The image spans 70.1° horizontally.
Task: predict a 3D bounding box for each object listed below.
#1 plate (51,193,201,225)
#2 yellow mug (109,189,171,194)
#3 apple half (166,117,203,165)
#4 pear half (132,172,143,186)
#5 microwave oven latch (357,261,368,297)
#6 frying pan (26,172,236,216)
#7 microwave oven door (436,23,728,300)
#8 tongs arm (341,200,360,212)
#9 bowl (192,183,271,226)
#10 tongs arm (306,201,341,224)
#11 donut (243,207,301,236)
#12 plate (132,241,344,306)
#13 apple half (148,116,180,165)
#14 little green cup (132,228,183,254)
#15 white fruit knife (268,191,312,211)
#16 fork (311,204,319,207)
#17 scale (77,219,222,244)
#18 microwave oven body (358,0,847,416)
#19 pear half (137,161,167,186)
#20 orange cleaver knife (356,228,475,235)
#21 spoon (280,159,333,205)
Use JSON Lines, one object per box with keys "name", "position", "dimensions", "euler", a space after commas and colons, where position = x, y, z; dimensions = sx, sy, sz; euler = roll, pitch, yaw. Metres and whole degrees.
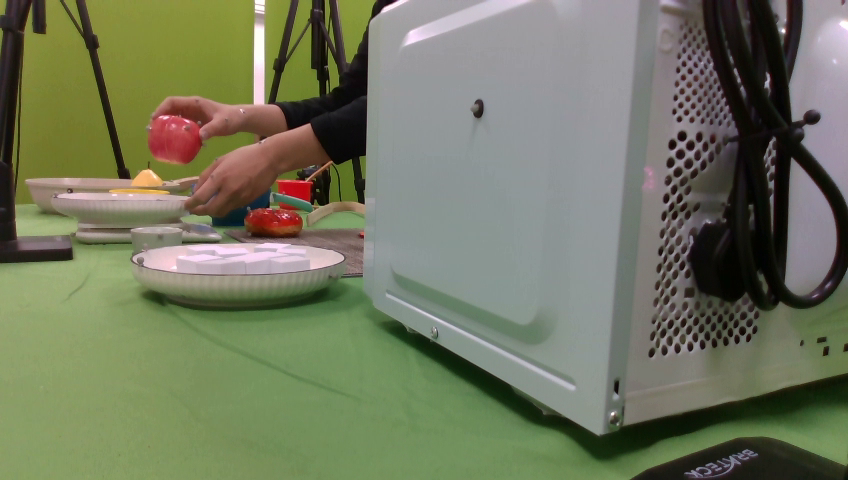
{"name": "plate", "position": [-0.459, -0.050, 0.945], "dimensions": [0.209, 0.038, 0.209], "euler": [2, 7, 0]}
{"name": "yellow mug", "position": [-0.519, -0.055, 1.080], "dimensions": [0.099, 0.064, 0.131], "euler": [7, 10, 26]}
{"name": "apple half", "position": [-0.377, -0.157, 0.972], "dimensions": [0.033, 0.081, 0.081], "euler": [4, 8, 15]}
{"name": "pear half", "position": [-0.638, -0.113, 1.361], "dimensions": [0.031, 0.088, 0.070], "euler": [5, 10, 4]}
{"name": "microwave oven latch", "position": [-0.019, 0.033, 0.530], "dimensions": [0.079, 0.029, 0.030], "euler": [-1, 7, -26]}
{"name": "frying pan", "position": [-0.624, -0.118, 1.387], "dimensions": [0.305, 0.102, 0.490], "euler": [8, 17, 32]}
{"name": "microwave oven door", "position": [0.180, -0.073, 0.621], "dimensions": [0.358, 0.243, 0.039], "euler": [-2, 9, -29]}
{"name": "tongs arm", "position": [-0.148, -0.070, 1.429], "dimensions": [0.051, 0.026, 0.383], "euler": [-3, 8, -14]}
{"name": "bowl", "position": [-0.382, -0.071, 1.202], "dimensions": [0.151, 0.077, 0.151], "euler": [3, 7, 0]}
{"name": "tongs arm", "position": [-0.234, -0.069, 1.415], "dimensions": [0.028, 0.028, 0.387], "euler": [-5, 7, 1]}
{"name": "donut", "position": [-0.262, -0.031, 1.044], "dimensions": [0.099, 0.048, 0.099], "euler": [4, 9, 0]}
{"name": "plate", "position": [-0.187, 0.033, 0.625], "dimensions": [0.208, 0.039, 0.207], "euler": [2, 7, 0]}
{"name": "apple half", "position": [-0.414, -0.161, 0.981], "dimensions": [0.053, 0.074, 0.081], "euler": [5, 3, 14]}
{"name": "little green cup", "position": [-0.342, 0.006, 0.779], "dimensions": [0.061, 0.038, 0.061], "euler": [3, 8, 0]}
{"name": "white fruit knife", "position": [-0.364, -0.105, 1.464], "dimensions": [0.208, 0.027, 0.016], "euler": [15, 0, -34]}
{"name": "fork", "position": [-0.356, -0.105, 1.526], "dimensions": [0.208, 0.018, 0.028], "euler": [16, -5, -41]}
{"name": "scale", "position": [-0.434, -0.018, 0.963], "dimensions": [0.202, 0.031, 0.148], "euler": [-1, 8, -27]}
{"name": "microwave oven body", "position": [0.211, -0.047, 0.474], "dimensions": [0.444, 0.260, 0.324], "euler": [-1, 7, -28]}
{"name": "pear half", "position": [-0.602, -0.120, 1.354], "dimensions": [0.056, 0.110, 0.076], "euler": [4, 11, 6]}
{"name": "orange cleaver knife", "position": [-0.017, -0.015, 1.080], "dimensions": [0.211, 0.012, 0.077], "euler": [0, 2, -3]}
{"name": "spoon", "position": [-0.316, -0.159, 1.640], "dimensions": [0.194, 0.022, 0.041], "euler": [-49, 32, -20]}
